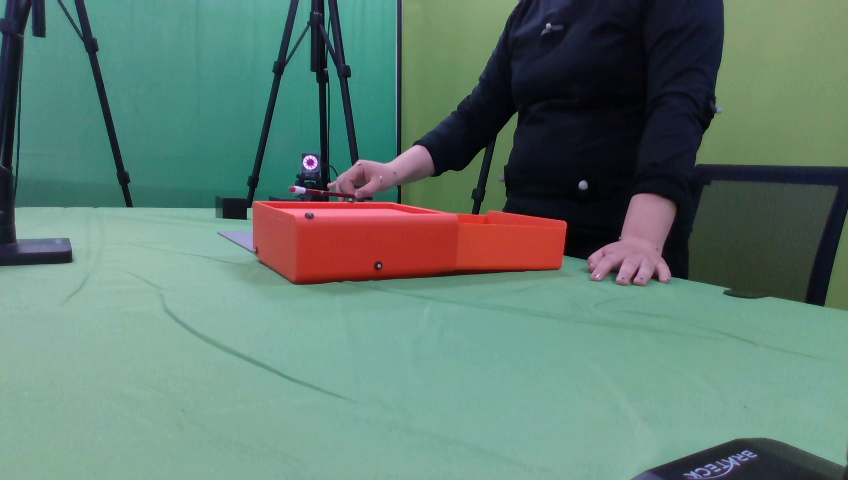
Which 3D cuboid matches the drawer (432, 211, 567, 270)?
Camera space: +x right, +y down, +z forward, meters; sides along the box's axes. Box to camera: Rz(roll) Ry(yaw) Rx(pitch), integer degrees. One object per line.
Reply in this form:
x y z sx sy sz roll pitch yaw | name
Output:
0.063 -0.005 0.878 0.213 0.073 0.193 1 7 -30 | drawer

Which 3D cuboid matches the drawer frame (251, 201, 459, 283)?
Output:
-0.095 -0.005 0.788 0.215 0.082 0.200 -3 10 -30 | drawer frame

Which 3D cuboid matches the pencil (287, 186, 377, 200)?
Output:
-0.161 -0.083 1.095 0.195 0.012 0.012 3 5 -42 | pencil
